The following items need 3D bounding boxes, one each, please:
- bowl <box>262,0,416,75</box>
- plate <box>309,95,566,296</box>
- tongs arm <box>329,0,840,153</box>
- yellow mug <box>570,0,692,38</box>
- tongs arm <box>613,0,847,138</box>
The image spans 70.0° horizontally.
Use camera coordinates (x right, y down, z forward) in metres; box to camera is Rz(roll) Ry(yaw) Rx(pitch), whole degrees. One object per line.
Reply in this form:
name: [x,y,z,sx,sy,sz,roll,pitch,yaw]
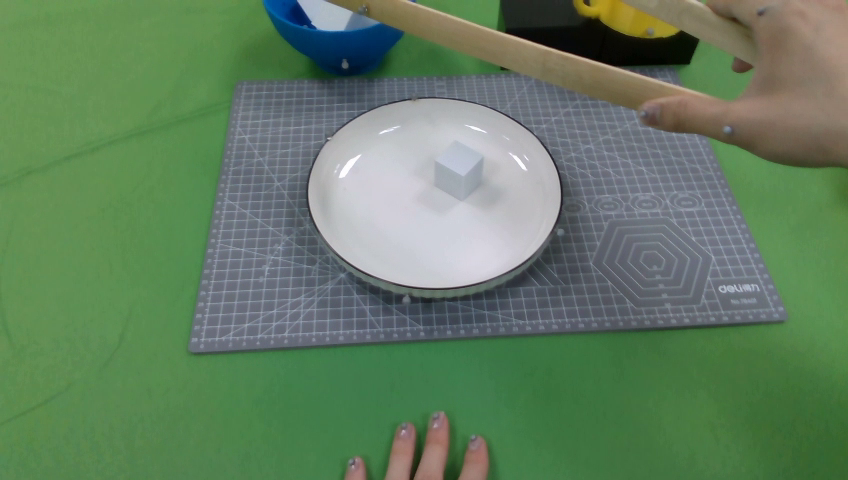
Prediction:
bowl: [-0.081,-0.222,0.613,0.151,0.077,0.150,0,54,0]
plate: [0.011,-0.039,0.505,0.208,0.039,0.205,1,54,0]
tongs arm: [0.063,-0.133,0.408,0.385,0.028,0.028,26,58,22]
yellow mug: [0.201,-0.249,0.583,0.131,0.064,0.099,-16,56,-10]
tongs arm: [0.111,-0.182,0.435,0.381,0.027,0.050,37,65,26]
